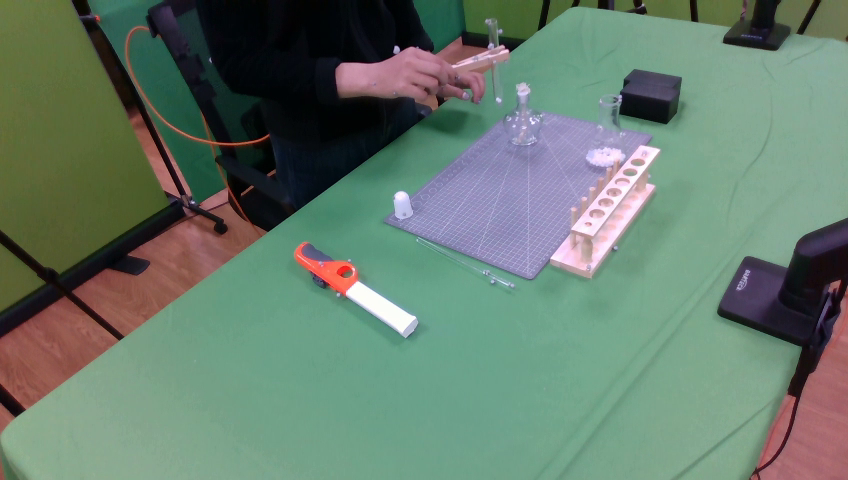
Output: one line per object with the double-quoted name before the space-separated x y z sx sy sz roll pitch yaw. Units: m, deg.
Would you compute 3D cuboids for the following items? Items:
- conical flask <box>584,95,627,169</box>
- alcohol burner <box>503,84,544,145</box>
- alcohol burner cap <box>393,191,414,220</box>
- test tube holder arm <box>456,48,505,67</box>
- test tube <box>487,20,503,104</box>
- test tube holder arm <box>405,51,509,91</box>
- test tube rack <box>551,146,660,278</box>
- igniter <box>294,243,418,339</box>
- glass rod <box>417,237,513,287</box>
"conical flask" 0.324 -0.192 1.066 0.075 0.122 0.075 -6 40 5
"alcohol burner" 0.191 -0.244 1.160 0.078 0.119 0.077 -4 40 4
"alcohol burner cap" -0.037 -0.062 1.045 0.034 0.048 0.033 -5 40 5
"test tube holder arm" 0.093 -0.294 0.992 0.088 0.015 0.010 -24 39 -14
"test tube" 0.118 -0.291 1.003 0.017 0.151 0.017 -6 46 7
"test tube holder arm" 0.054 -0.275 0.980 0.179 0.015 0.013 -20 38 -9
"test tube rack" 0.286 -0.053 0.943 0.066 0.085 0.243 21 49 32
"igniter" -0.114 0.070 0.919 0.274 0.025 0.057 30 64 37
"glass rod" 0.059 0.032 0.944 0.198 0.008 0.008 26 52 38
